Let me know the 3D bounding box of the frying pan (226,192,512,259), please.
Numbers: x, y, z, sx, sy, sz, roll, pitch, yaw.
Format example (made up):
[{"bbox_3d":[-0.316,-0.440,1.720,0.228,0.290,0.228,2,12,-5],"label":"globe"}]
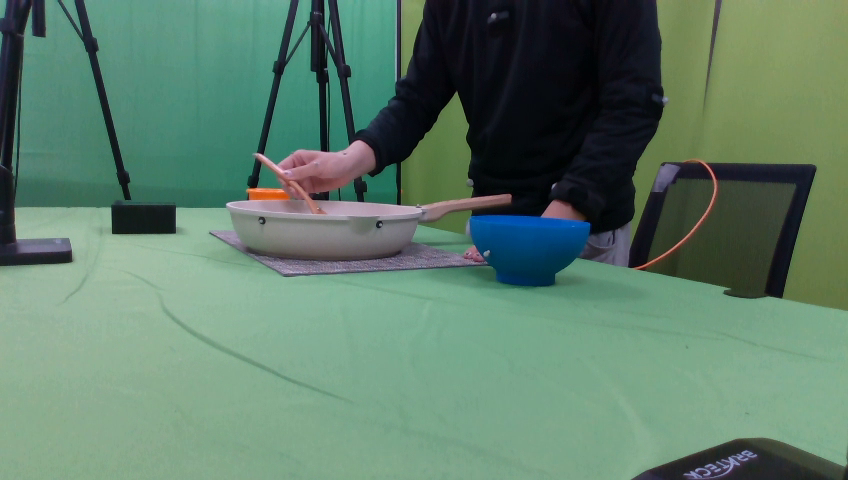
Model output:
[{"bbox_3d":[-0.058,-0.041,0.974,0.490,0.102,0.305,-11,13,-26],"label":"frying pan"}]

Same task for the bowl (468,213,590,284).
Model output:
[{"bbox_3d":[0.128,0.011,0.755,0.151,0.077,0.151,2,7,0],"label":"bowl"}]

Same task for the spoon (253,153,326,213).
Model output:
[{"bbox_3d":[-0.205,-0.079,0.984,0.193,0.021,0.042,45,29,4],"label":"spoon"}]

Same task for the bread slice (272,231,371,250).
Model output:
[{"bbox_3d":[-0.148,0.001,0.929,0.133,0.018,0.107,5,7,38],"label":"bread slice"}]
